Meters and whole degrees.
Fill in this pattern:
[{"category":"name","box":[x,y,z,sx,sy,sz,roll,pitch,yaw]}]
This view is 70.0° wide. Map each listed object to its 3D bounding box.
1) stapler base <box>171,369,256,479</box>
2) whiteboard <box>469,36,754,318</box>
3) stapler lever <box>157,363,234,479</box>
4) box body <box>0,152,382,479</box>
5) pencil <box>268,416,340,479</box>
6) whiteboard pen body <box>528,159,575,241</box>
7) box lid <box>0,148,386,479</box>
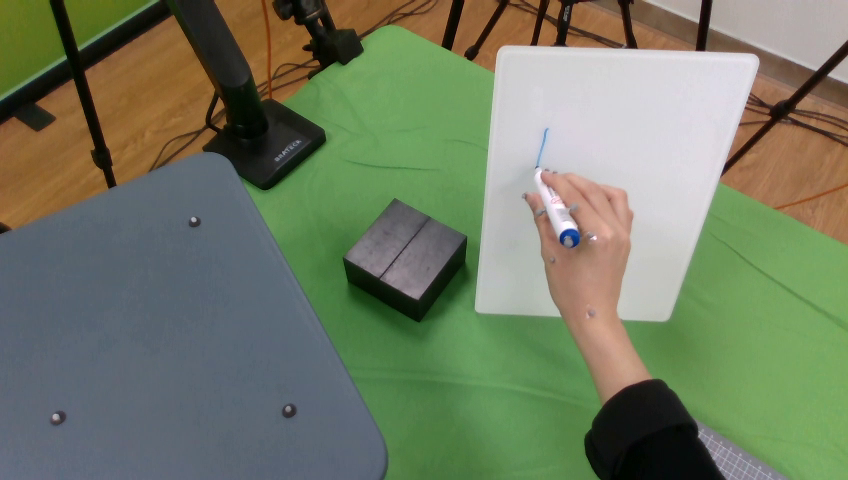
[{"category":"stapler base","box":[-0.207,0.183,0.583,0.041,0.025,0.129,4,59,25]},{"category":"whiteboard","box":[0.165,-0.081,0.639,0.217,0.308,0.142,3,38,2]},{"category":"stapler lever","box":[-0.214,0.171,0.564,0.026,0.040,0.117,4,57,25]},{"category":"box body","box":[-0.222,0.129,0.547,0.254,0.162,0.360,-27,61,-17]},{"category":"pencil","box":[-0.150,0.232,0.561,0.012,0.012,0.194,35,53,21]},{"category":"whiteboard pen body","box":[0.102,-0.039,0.503,0.017,0.017,0.139,-2,31,-1]},{"category":"box lid","box":[-0.223,0.088,0.485,0.263,0.015,0.368,-27,62,-17]}]
